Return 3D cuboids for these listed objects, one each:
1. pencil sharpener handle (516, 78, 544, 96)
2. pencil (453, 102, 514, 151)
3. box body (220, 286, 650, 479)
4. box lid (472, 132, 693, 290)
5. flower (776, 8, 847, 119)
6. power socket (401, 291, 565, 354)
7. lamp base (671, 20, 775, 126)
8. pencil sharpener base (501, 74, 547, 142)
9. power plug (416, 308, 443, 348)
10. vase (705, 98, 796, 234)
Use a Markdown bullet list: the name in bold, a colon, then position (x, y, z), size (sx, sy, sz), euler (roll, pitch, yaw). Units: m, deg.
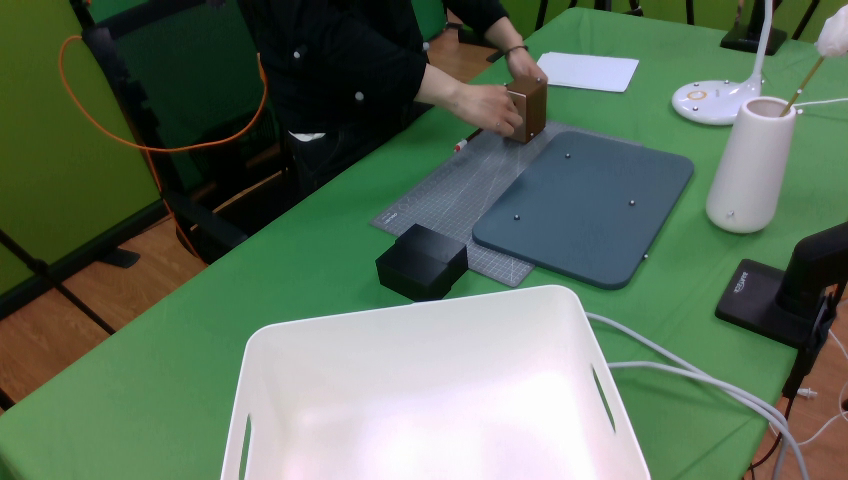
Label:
- **pencil sharpener handle**: position (0.215, -0.307, 1.195), size (0.067, 0.036, 0.031), euler (10, 40, 45)
- **pencil**: position (0.117, -0.215, 1.106), size (0.012, 0.012, 0.194), euler (28, 55, 34)
- **box body**: position (0.006, 0.210, 0.618), size (0.364, 0.161, 0.252), euler (-8, 40, -1)
- **box lid**: position (0.273, -0.068, 1.020), size (0.261, 0.015, 0.372), euler (20, 47, 28)
- **flower**: position (0.476, -0.156, 0.822), size (0.038, 0.362, 0.044), euler (7, 58, 2)
- **power socket**: position (0.080, 0.111, 0.823), size (0.227, 0.033, 0.072), euler (-5, 41, 1)
- **lamp base**: position (0.581, -0.332, 1.153), size (0.179, 0.181, 0.160), euler (2, 41, 7)
- **pencil sharpener base**: position (0.196, -0.257, 1.174), size (0.061, 0.107, 0.077), euler (25, 50, 33)
- **power plug**: position (0.005, 0.121, 0.786), size (0.035, 0.053, 0.072), euler (2, 46, 8)
- **vase**: position (0.480, -0.104, 0.889), size (0.098, 0.201, 0.097), euler (-4, 42, 4)
